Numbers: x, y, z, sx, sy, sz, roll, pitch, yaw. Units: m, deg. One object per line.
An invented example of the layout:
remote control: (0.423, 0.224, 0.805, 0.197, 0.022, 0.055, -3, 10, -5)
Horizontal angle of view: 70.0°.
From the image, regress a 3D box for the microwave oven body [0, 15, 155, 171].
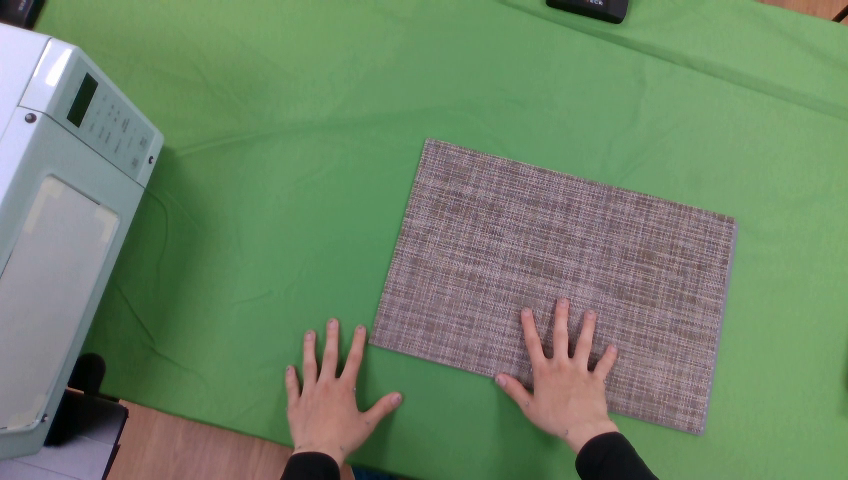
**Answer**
microwave oven body: (-0.564, -0.019, 0.679, 0.326, 0.261, 0.440, 16, 79, 1)

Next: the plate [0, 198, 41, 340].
plate: (-0.562, 0.040, 0.726, 0.209, 0.038, 0.208, 1, 80, -3)

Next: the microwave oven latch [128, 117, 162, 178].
microwave oven latch: (-0.376, -0.125, 0.806, 0.030, 0.029, 0.079, 18, 79, 1)

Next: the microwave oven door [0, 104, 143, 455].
microwave oven door: (-0.434, 0.059, 0.663, 0.039, 0.244, 0.354, 15, 78, 2)
